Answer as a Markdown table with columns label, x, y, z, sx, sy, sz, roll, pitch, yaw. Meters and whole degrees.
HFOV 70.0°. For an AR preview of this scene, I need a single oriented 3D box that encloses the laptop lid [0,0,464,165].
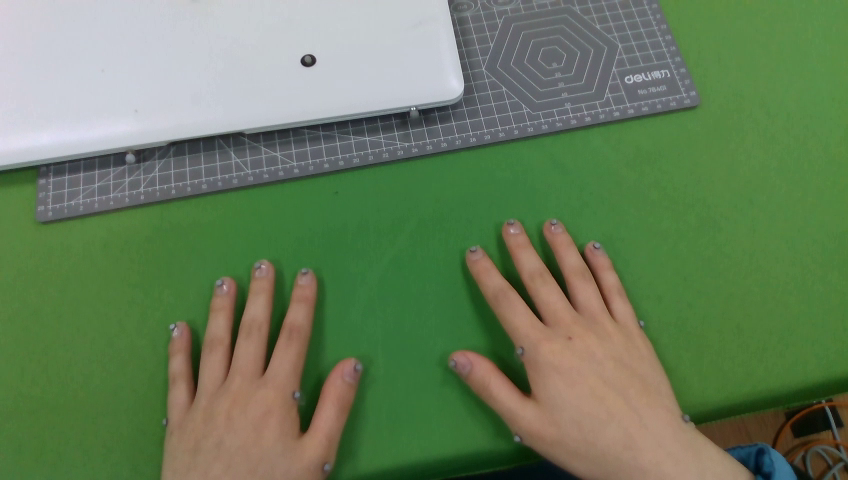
| label | x | y | z | sx | sy | sz | roll | pitch | yaw |
| --- | --- | --- | --- | --- | --- | --- | --- | --- | --- |
| laptop lid | -0.162 | -0.177 | 0.437 | 0.357 | 0.013 | 0.240 | -7 | 70 | -1 |

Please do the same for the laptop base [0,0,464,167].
| label | x | y | z | sx | sy | sz | roll | pitch | yaw |
| --- | --- | --- | --- | --- | --- | --- | --- | --- | --- |
| laptop base | -0.162 | -0.174 | 0.449 | 0.354 | 0.023 | 0.234 | -9 | 71 | -2 |
